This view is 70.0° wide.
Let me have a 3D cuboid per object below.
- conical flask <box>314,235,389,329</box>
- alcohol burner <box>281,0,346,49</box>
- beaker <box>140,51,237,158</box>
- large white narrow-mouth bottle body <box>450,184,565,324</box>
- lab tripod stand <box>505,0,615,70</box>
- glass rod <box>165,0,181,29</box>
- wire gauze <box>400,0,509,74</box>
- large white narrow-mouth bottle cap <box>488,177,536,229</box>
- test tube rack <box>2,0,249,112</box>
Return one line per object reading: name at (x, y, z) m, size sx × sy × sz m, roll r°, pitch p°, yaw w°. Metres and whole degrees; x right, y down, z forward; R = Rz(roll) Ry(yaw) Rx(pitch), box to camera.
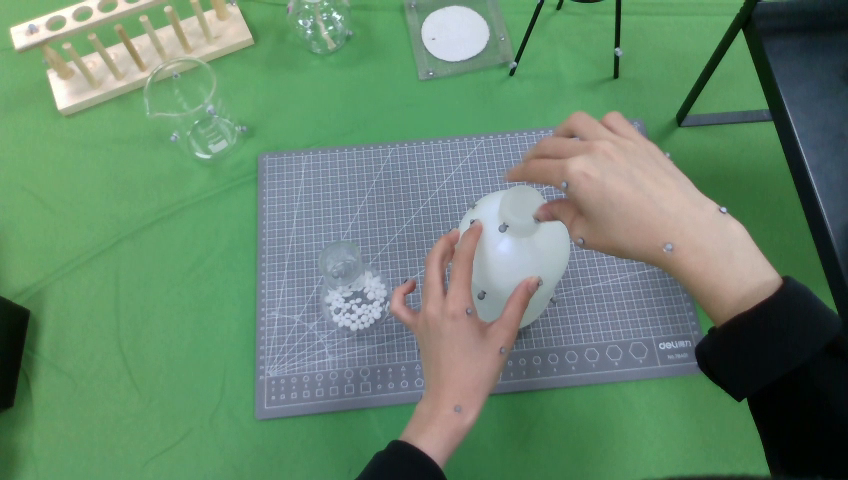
conical flask at (-0.075, 0.035, 0.576) m, size 0.075 × 0.123 × 0.075 m, roll 0°, pitch 67°, yaw 1°
alcohol burner at (-0.133, -0.284, 0.714) m, size 0.078 × 0.120 × 0.077 m, roll 0°, pitch 65°, yaw 0°
beaker at (-0.255, -0.141, 0.664) m, size 0.073 × 0.101 × 0.084 m, roll 39°, pitch 74°, yaw 16°
large white narrow-mouth bottle body at (0.074, 0.006, 0.549) m, size 0.102 × 0.196 × 0.101 m, roll -1°, pitch 68°, yaw 3°
lab tripod stand at (0.166, -0.267, 0.693) m, size 0.148 × 0.132 × 0.147 m, roll 1°, pitch 67°, yaw -1°
glass rod at (-0.299, -0.307, 0.667) m, size 0.008 × 0.201 × 0.008 m, roll 2°, pitch 65°, yaw -3°
wire gauze at (0.036, -0.270, 0.762) m, size 0.121 × 0.011 × 0.124 m, roll -10°, pitch 68°, yaw -5°
large white narrow-mouth bottle cap at (0.068, -0.028, 0.468) m, size 0.038 × 0.024 × 0.037 m, roll -1°, pitch 68°, yaw 3°
test tube rack at (-0.342, -0.245, 0.714) m, size 0.242 × 0.086 × 0.066 m, roll -25°, pitch 70°, yaw -9°
